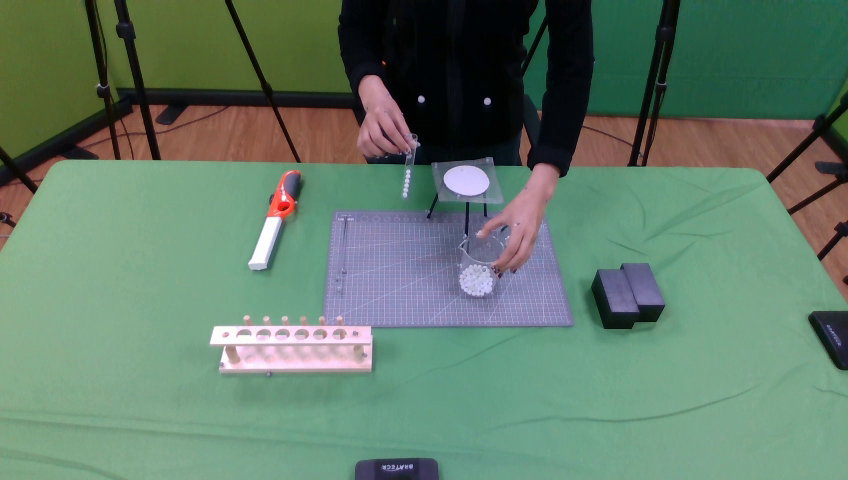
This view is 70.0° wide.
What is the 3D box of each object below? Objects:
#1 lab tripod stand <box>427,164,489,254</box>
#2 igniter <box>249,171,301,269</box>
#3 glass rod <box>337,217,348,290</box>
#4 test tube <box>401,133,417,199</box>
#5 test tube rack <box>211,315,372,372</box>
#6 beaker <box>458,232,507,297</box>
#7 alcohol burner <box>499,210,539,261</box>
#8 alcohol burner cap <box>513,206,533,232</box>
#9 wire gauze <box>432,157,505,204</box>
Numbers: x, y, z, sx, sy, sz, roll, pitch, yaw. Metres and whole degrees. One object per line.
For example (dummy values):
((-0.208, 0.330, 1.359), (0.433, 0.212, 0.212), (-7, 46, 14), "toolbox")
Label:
((0.077, -0.068, 1.187), (0.148, 0.132, 0.147), (3, 47, -3), "lab tripod stand")
((-0.297, -0.049, 1.221), (0.057, 0.025, 0.275), (-1, 45, 9), "igniter")
((-0.158, 0.021, 1.171), (0.008, 0.008, 0.198), (1, 43, -2), "glass rod")
((-0.028, -0.129, 1.082), (0.017, 0.151, 0.017), (5, 49, -5), "test tube")
((-0.208, 0.163, 0.982), (0.242, 0.085, 0.066), (1, 46, -4), "test tube rack")
((0.098, 0.047, 1.085), (0.084, 0.101, 0.073), (8, 45, 1), "beaker")
((0.185, -0.016, 1.159), (0.078, 0.120, 0.077), (2, 48, -2), "alcohol burner")
((0.187, -0.043, 1.134), (0.034, 0.048, 0.033), (6, 41, -5), "alcohol burner cap")
((0.081, -0.112, 1.137), (0.125, 0.011, 0.120), (-2, 48, -6), "wire gauze")
